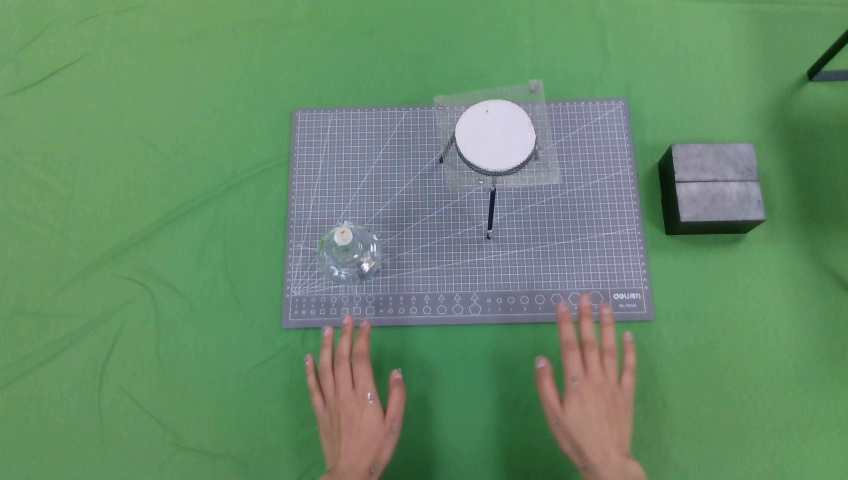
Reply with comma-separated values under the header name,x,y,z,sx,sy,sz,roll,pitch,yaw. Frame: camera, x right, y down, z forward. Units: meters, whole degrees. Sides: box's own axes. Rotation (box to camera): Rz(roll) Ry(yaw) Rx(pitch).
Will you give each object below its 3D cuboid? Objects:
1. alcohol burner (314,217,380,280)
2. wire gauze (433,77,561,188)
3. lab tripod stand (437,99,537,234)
name,x,y,z,sx,sy,sz,roll,pitch,yaw
alcohol burner,-0.091,0.005,0.701,0.078,0.120,0.077,0,71,0
wire gauze,0.077,-0.115,0.653,0.125,0.011,0.120,-6,74,-1
lab tripod stand,0.081,-0.098,0.717,0.148,0.132,0.147,0,71,1
